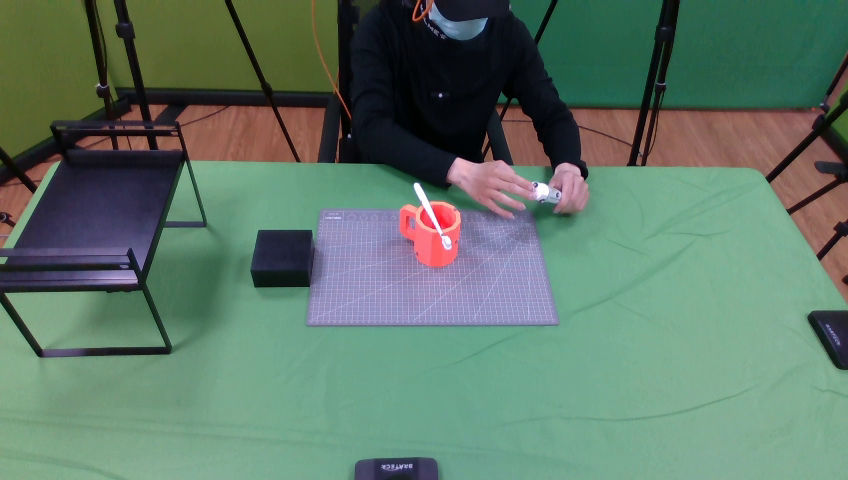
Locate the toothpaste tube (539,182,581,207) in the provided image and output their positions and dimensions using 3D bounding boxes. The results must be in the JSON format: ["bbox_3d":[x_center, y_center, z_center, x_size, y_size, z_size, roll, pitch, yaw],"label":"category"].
[{"bbox_3d":[0.267,-0.091,1.228,0.166,0.034,0.055,4,37,-53],"label":"toothpaste tube"}]

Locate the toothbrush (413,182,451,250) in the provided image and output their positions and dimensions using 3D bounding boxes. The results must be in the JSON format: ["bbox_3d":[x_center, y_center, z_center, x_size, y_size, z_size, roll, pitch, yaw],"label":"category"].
[{"bbox_3d":[0.013,-0.050,1.118,0.014,0.017,0.180,-15,49,-14],"label":"toothbrush"}]

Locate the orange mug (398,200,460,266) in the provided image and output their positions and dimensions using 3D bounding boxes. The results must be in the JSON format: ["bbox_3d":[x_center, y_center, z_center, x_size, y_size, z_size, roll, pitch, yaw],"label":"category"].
[{"bbox_3d":[0.007,-0.020,1.161,0.126,0.101,0.083,27,50,15],"label":"orange mug"}]

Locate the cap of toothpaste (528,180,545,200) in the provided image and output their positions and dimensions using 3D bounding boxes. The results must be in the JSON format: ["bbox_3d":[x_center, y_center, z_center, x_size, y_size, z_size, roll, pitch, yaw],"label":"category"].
[{"bbox_3d":[0.217,-0.097,1.165,0.037,0.037,0.011,38,22,28],"label":"cap of toothpaste"}]
